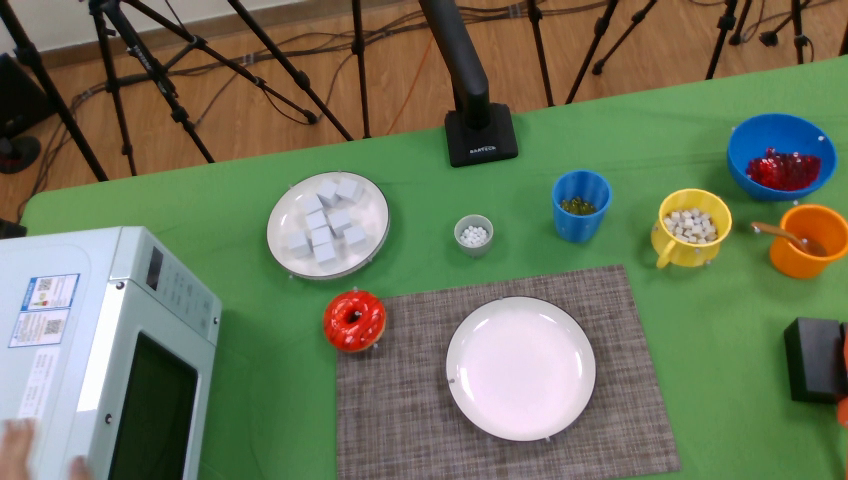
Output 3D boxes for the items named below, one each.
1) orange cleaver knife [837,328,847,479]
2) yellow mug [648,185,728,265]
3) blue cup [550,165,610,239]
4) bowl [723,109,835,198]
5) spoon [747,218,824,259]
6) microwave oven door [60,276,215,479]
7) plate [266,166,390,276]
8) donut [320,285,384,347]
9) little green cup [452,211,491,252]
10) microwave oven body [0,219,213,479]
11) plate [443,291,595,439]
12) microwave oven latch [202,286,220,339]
[{"bbox_3d":[0.527,0.205,0.748,0.012,0.077,0.211,4,91,15],"label":"orange cleaver knife"},{"bbox_3d":[0.382,-0.013,0.901,0.099,0.064,0.130,37,73,25],"label":"yellow mug"},{"bbox_3d":[0.233,-0.050,0.924,0.092,0.101,0.092,-3,62,6],"label":"blue cup"},{"bbox_3d":[0.531,-0.118,0.930,0.151,0.077,0.150,-4,61,7],"label":"bowl"},{"bbox_3d":[0.498,-0.007,0.832,0.021,0.195,0.041,-37,49,40],"label":"spoon"},{"bbox_3d":[-0.345,0.253,0.741,0.039,0.246,0.352,-6,60,6],"label":"microwave oven door"},{"bbox_3d":[-0.157,-0.030,1.009,0.207,0.039,0.206,-4,60,7],"label":"plate"},{"bbox_3d":[-0.109,0.114,0.914,0.099,0.049,0.098,-4,62,8],"label":"donut"},{"bbox_3d":[0.078,-0.011,0.963,0.061,0.039,0.061,-4,60,7],"label":"little green cup"},{"bbox_3d":[-0.490,0.233,0.781,0.326,0.262,0.437,-5,61,5],"label":"microwave oven body"},{"bbox_3d":[0.131,0.173,0.847,0.209,0.038,0.207,-4,61,7],"label":"plate"},{"bbox_3d":[-0.336,0.112,0.936,0.030,0.030,0.078,-3,61,6],"label":"microwave oven latch"}]
